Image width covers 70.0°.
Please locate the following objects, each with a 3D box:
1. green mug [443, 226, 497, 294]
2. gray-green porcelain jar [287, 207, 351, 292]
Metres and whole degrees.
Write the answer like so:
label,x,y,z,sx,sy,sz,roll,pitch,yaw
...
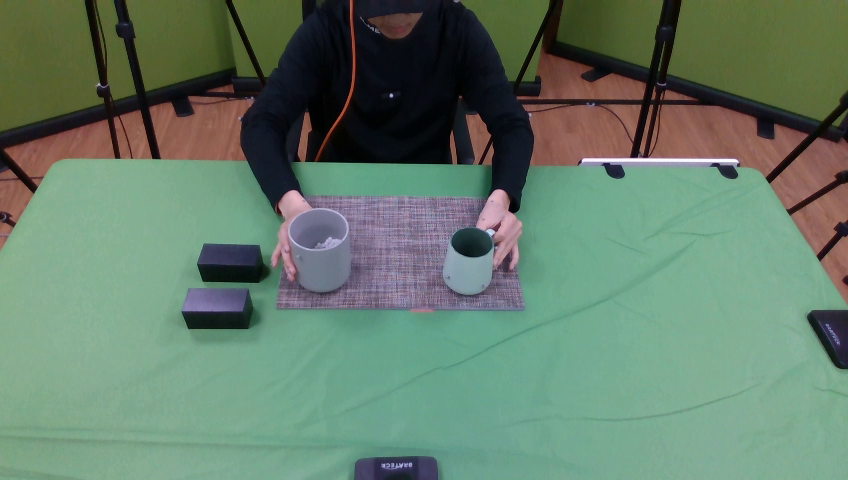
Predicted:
label,x,y,z,sx,sy,sz,roll,pitch,yaw
green mug,0.093,0.028,1.114,0.092,0.105,0.125,31,52,23
gray-green porcelain jar,-0.185,0.022,1.083,0.106,0.127,0.105,2,47,-2
